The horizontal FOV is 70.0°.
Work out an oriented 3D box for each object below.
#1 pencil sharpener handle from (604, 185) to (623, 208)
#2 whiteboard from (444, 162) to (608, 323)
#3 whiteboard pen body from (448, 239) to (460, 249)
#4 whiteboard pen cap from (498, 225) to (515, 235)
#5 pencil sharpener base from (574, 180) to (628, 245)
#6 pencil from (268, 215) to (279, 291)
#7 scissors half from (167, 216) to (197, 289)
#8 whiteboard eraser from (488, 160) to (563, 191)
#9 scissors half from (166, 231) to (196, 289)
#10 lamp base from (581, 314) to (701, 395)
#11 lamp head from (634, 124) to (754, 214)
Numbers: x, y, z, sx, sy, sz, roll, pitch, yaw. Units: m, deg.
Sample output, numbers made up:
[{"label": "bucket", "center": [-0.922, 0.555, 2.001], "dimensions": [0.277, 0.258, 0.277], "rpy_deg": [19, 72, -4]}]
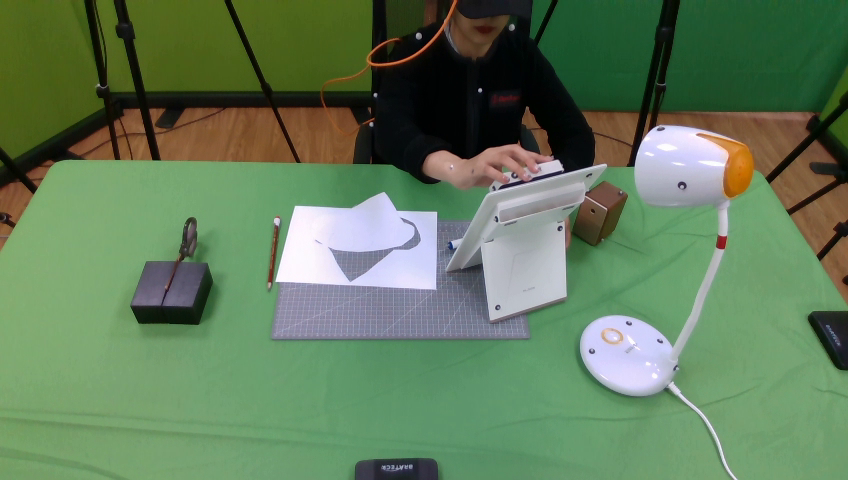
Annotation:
[{"label": "pencil sharpener handle", "center": [0.390, -0.091, 1.235], "dimensions": [0.030, 0.068, 0.036], "rpy_deg": [-34, 70, -31]}, {"label": "whiteboard", "center": [0.186, 0.025, 1.029], "dimensions": [0.217, 0.306, 0.143], "rpy_deg": [-14, 68, -18]}, {"label": "whiteboard pen body", "center": [0.112, -0.006, 1.203], "dimensions": [0.141, 0.017, 0.017], "rpy_deg": [-14, 49, -18]}, {"label": "whiteboard pen cap", "center": [0.166, -0.019, 1.222], "dimensions": [0.033, 0.018, 0.018], "rpy_deg": [-16, 49, -18]}, {"label": "pencil sharpener base", "center": [0.356, -0.056, 1.217], "dimensions": [0.076, 0.107, 0.061], "rpy_deg": [-33, 56, -31]}, {"label": "pencil", "center": [-0.291, 0.023, 1.164], "dimensions": [0.012, 0.012, 0.192], "rpy_deg": [-2, 48, -6]}, {"label": "scissors half", "center": [-0.436, 0.020, 1.086], "dimensions": [0.013, 0.040, 0.174], "rpy_deg": [7, 47, -8]}, {"label": "whiteboard eraser", "center": [0.162, -0.091, 0.961], "dimensions": [0.113, 0.056, 0.041], "rpy_deg": [-16, 71, -15]}, {"label": "scissors half", "center": [-0.441, 0.036, 1.098], "dimensions": [0.013, 0.040, 0.174], "rpy_deg": [12, 28, -10]}, {"label": "lamp base", "center": [0.361, 0.145, 0.973], "dimensions": [0.178, 0.181, 0.160], "rpy_deg": [34, 53, 23]}, {"label": "lamp head", "center": [0.351, -0.089, 0.776], "dimensions": [0.112, 0.113, 0.122], "rpy_deg": [-30, 30, -28]}]
